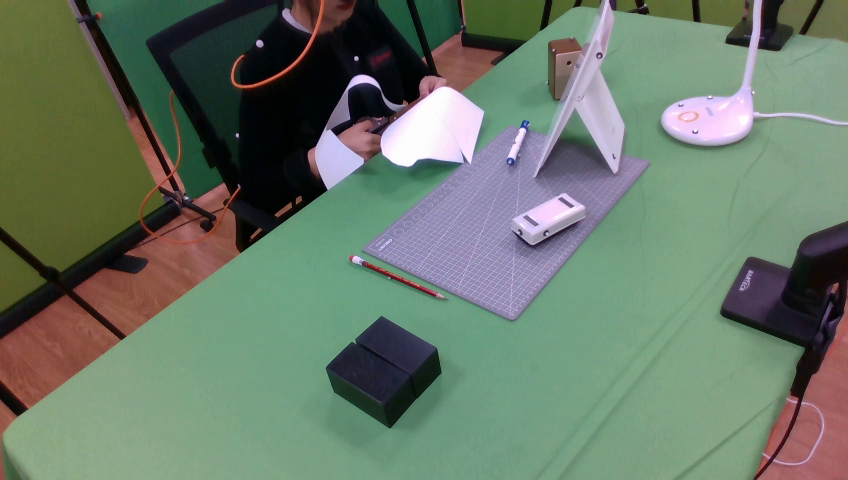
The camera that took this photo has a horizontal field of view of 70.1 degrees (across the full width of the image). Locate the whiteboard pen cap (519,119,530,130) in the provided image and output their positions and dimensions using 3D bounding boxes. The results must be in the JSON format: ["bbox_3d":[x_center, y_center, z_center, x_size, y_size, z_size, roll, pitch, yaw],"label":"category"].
[{"bbox_3d":[0.199,-0.226,1.204,0.018,0.018,0.033,7,41,18],"label":"whiteboard pen cap"}]

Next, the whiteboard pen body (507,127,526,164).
[{"bbox_3d":[0.181,-0.189,1.162,0.017,0.017,0.140,7,42,19],"label":"whiteboard pen body"}]

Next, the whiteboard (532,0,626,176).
[{"bbox_3d":[0.320,-0.258,1.050,0.144,0.306,0.217,21,45,5],"label":"whiteboard"}]

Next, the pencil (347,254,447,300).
[{"bbox_3d":[-0.044,0.058,0.933,0.192,0.012,0.012,22,49,29],"label":"pencil"}]

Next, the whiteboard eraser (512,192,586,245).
[{"bbox_3d":[0.199,-0.032,0.962,0.113,0.042,0.055,-27,43,-20],"label":"whiteboard eraser"}]

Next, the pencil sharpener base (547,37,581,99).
[{"bbox_3d":[0.299,-0.368,1.290,0.061,0.107,0.076,-8,40,2],"label":"pencil sharpener base"}]

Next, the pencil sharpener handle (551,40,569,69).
[{"bbox_3d":[0.291,-0.409,1.320,0.036,0.068,0.030,2,40,-6],"label":"pencil sharpener handle"}]

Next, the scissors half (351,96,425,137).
[{"bbox_3d":[-0.076,-0.258,1.245,0.174,0.040,0.013,-20,21,17],"label":"scissors half"}]

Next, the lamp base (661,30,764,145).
[{"bbox_3d":[0.535,-0.287,1.096,0.179,0.181,0.159,-10,40,-4],"label":"lamp base"}]

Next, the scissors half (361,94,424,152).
[{"bbox_3d":[-0.064,-0.242,1.250,0.175,0.040,0.013,-41,8,22],"label":"scissors half"}]
